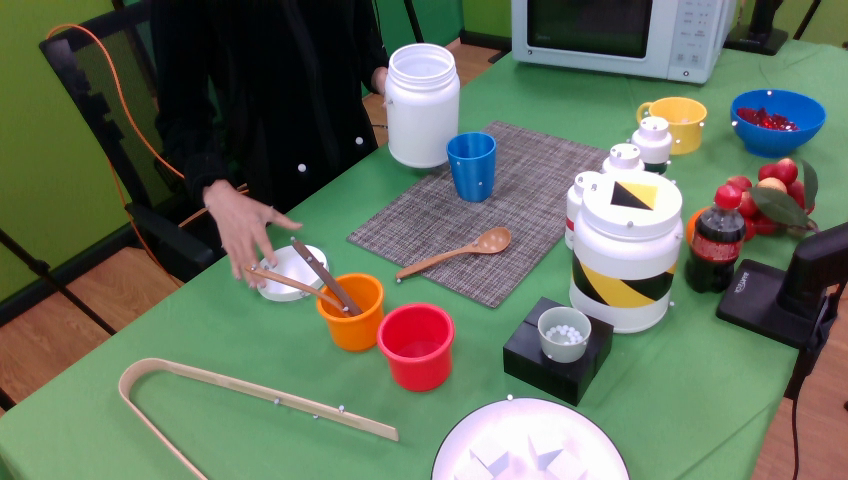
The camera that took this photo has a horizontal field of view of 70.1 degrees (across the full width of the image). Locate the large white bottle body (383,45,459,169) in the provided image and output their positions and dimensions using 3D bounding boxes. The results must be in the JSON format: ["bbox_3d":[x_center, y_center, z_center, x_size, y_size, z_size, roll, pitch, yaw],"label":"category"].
[{"bbox_3d":[-0.005,-0.232,1.065,0.131,0.185,0.130,0,47,0],"label":"large white bottle body"}]

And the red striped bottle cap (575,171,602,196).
[{"bbox_3d":[0.242,-0.081,0.876,0.044,0.018,0.044,-5,43,5],"label":"red striped bottle cap"}]

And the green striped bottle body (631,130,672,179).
[{"bbox_3d":[0.375,-0.140,1.007,0.063,0.120,0.063,-5,40,5],"label":"green striped bottle body"}]

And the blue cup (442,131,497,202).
[{"bbox_3d":[0.085,-0.121,1.039,0.092,0.100,0.092,-5,42,5],"label":"blue cup"}]

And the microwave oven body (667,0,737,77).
[{"bbox_3d":[0.462,-0.552,1.368,0.439,0.261,0.326,14,45,26],"label":"microwave oven body"}]

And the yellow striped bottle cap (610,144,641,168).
[{"bbox_3d":[0.307,-0.128,0.923,0.044,0.019,0.044,-6,39,5],"label":"yellow striped bottle cap"}]

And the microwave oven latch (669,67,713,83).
[{"bbox_3d":[0.556,-0.349,1.261,0.078,0.029,0.030,16,46,27],"label":"microwave oven latch"}]

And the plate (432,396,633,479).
[{"bbox_3d":[0.112,0.261,0.634,0.209,0.038,0.208,-5,40,4],"label":"plate"}]

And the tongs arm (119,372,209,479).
[{"bbox_3d":[-0.258,0.257,0.700,0.384,0.028,0.028,24,55,34],"label":"tongs arm"}]

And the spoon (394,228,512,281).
[{"bbox_3d":[0.045,0.024,0.935,0.194,0.022,0.041,-18,66,-11],"label":"spoon"}]

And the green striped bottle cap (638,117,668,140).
[{"bbox_3d":[0.369,-0.180,0.974,0.044,0.020,0.044,-4,41,4],"label":"green striped bottle cap"}]

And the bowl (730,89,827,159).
[{"bbox_3d":[0.615,-0.197,1.069,0.151,0.077,0.150,-5,40,5],"label":"bowl"}]

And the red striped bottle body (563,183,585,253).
[{"bbox_3d":[0.246,-0.041,0.910,0.063,0.120,0.062,-2,38,2],"label":"red striped bottle body"}]

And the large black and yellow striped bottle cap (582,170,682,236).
[{"bbox_3d":[0.252,-0.048,0.735,0.115,0.019,0.114,-3,40,3],"label":"large black and yellow striped bottle cap"}]

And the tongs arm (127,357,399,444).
[{"bbox_3d":[-0.213,0.205,0.755,0.382,0.026,0.051,12,46,23],"label":"tongs arm"}]

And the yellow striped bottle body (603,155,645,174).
[{"bbox_3d":[0.313,-0.089,0.956,0.063,0.121,0.062,-4,39,4],"label":"yellow striped bottle body"}]

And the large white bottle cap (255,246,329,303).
[{"bbox_3d":[-0.208,0.052,0.952,0.115,0.018,0.114,-4,40,4],"label":"large white bottle cap"}]

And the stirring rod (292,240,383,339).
[{"bbox_3d":[-0.118,0.068,0.825,0.176,0.006,0.014,48,59,-4],"label":"stirring rod"}]

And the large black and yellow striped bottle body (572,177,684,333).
[{"bbox_3d":[0.262,0.017,0.788,0.131,0.185,0.130,-5,40,4],"label":"large black and yellow striped bottle body"}]

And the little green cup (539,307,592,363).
[{"bbox_3d":[0.168,0.115,0.721,0.061,0.039,0.061,-4,42,4],"label":"little green cup"}]

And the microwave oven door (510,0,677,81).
[{"bbox_3d":[0.354,-0.478,1.291,0.353,0.245,0.039,15,45,25],"label":"microwave oven door"}]

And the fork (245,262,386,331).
[{"bbox_3d":[-0.141,0.076,0.807,0.209,0.018,0.028,29,52,-24],"label":"fork"}]

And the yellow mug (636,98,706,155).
[{"bbox_3d":[0.453,-0.218,1.129,0.100,0.064,0.129,-34,46,-26],"label":"yellow mug"}]
